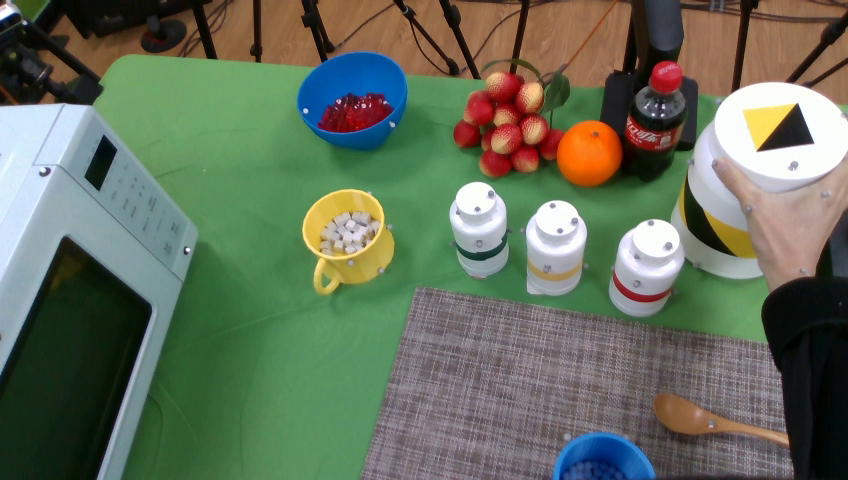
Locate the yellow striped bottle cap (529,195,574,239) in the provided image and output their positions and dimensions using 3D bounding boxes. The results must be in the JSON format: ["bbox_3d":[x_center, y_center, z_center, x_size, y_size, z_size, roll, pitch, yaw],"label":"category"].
[{"bbox_3d":[0.130,-0.024,0.617,0.044,0.019,0.044,-1,58,2],"label":"yellow striped bottle cap"}]

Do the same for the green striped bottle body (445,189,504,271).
[{"bbox_3d":[0.059,-0.018,0.687,0.063,0.120,0.062,-4,59,7],"label":"green striped bottle body"}]

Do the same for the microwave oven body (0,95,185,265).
[{"bbox_3d":[-0.489,0.107,0.617,0.325,0.262,0.438,0,61,9],"label":"microwave oven body"}]

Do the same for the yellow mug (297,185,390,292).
[{"bbox_3d":[-0.103,0.004,0.732,0.099,0.064,0.130,17,65,18],"label":"yellow mug"}]

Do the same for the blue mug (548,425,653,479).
[{"bbox_3d":[0.137,0.225,0.535,0.116,0.107,0.081,-25,58,-5],"label":"blue mug"}]

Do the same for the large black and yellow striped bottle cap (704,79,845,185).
[{"bbox_3d":[0.320,-0.101,0.555,0.115,0.019,0.114,-4,58,8],"label":"large black and yellow striped bottle cap"}]

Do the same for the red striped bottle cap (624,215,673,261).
[{"bbox_3d":[0.219,-0.003,0.590,0.044,0.018,0.044,-2,59,3],"label":"red striped bottle cap"}]

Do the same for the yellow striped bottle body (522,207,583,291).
[{"bbox_3d":[0.139,0.003,0.661,0.063,0.121,0.062,-4,59,8],"label":"yellow striped bottle body"}]

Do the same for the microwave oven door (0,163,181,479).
[{"bbox_3d":[-0.349,0.141,0.568,0.039,0.246,0.353,0,60,10],"label":"microwave oven door"}]

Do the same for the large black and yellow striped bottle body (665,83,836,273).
[{"bbox_3d":[0.333,-0.061,0.628,0.130,0.186,0.129,-4,60,8],"label":"large black and yellow striped bottle body"}]

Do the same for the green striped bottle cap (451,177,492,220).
[{"bbox_3d":[0.050,-0.044,0.642,0.044,0.020,0.044,-4,58,7],"label":"green striped bottle cap"}]

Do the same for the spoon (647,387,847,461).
[{"bbox_3d":[0.313,0.180,0.581,0.193,0.022,0.041,12,41,15],"label":"spoon"}]

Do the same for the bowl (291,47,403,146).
[{"bbox_3d":[-0.097,-0.184,0.834,0.151,0.077,0.150,-4,60,7],"label":"bowl"}]

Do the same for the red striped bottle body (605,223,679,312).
[{"bbox_3d":[0.227,0.024,0.634,0.063,0.121,0.062,-5,58,8],"label":"red striped bottle body"}]

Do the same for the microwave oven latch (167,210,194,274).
[{"bbox_3d":[-0.314,0.002,0.762,0.030,0.030,0.078,2,61,10],"label":"microwave oven latch"}]
